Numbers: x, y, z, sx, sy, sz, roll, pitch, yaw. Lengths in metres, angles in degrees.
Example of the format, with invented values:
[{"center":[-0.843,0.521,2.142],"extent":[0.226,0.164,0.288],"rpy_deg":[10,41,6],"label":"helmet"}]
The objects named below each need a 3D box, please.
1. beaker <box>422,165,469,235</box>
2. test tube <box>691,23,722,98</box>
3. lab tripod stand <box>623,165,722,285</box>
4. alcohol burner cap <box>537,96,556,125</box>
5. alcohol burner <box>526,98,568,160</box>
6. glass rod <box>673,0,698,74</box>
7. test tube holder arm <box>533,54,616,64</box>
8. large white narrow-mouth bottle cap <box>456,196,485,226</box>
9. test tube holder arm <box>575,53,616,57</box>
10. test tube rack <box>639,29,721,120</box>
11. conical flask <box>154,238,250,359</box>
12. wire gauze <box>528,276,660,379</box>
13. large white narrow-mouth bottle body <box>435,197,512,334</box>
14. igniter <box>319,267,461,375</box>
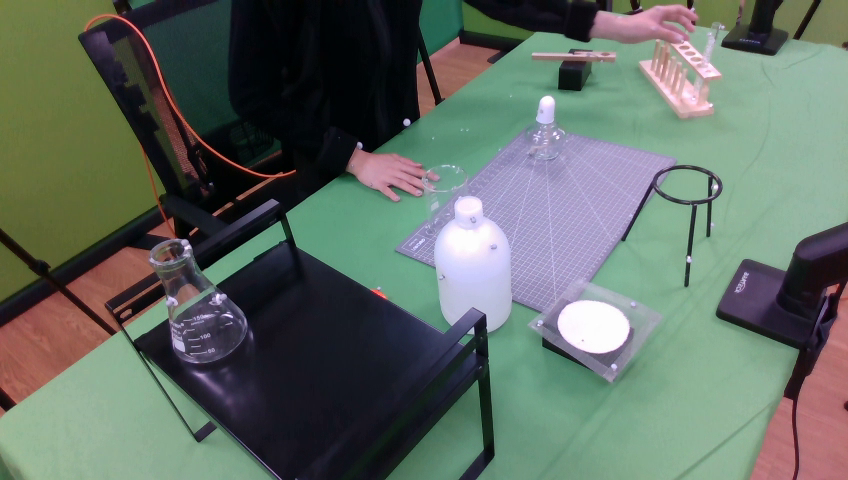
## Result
[{"center":[0.041,-0.063,0.986],"extent":[0.073,0.101,0.084],"rpy_deg":[20,47,29],"label":"beaker"},{"center":[0.547,-0.345,1.173],"extent":[0.017,0.151,0.017],"rpy_deg":[0,42,1],"label":"test tube"},{"center":[0.365,-0.030,0.874],"extent":[0.148,0.132,0.147],"rpy_deg":[-6,41,6],"label":"lab tripod stand"},{"center":[0.223,-0.237,1.095],"extent":[0.034,0.048,0.033],"rpy_deg":[0,43,1],"label":"alcohol burner cap"},{"center":[0.228,-0.210,1.118],"extent":[0.078,0.119,0.077],"rpy_deg":[-5,43,5],"label":"alcohol burner"},{"center":[0.537,-0.424,1.244],"extent":[0.008,0.200,0.008],"rpy_deg":[0,47,0],"label":"glass rod"},{"center":[0.329,-0.399,1.327],"extent":[0.178,0.015,0.013],"rpy_deg":[6,53,16],"label":"test tube holder arm"},{"center":[0.057,-0.037,0.749],"extent":[0.038,0.024,0.037],"rpy_deg":[-4,40,4],"label":"large white narrow-mouth bottle cap"},{"center":[0.374,-0.399,1.318],"extent":[0.087,0.015,0.010],"rpy_deg":[6,53,16],"label":"test tube holder arm"},{"center":[0.527,-0.351,1.262],"extent":[0.067,0.085,0.241],"rpy_deg":[-8,40,1],"label":"test tube rack"},{"center":[-0.225,0.055,0.597],"extent":[0.075,0.122,0.075],"rpy_deg":[-5,41,4],"label":"conical flask"},{"center":[0.214,0.103,0.763],"extent":[0.124,0.011,0.122],"rpy_deg":[30,53,35],"label":"wire gauze"},{"center":[0.066,0.028,0.805],"extent":[0.102,0.195,0.101],"rpy_deg":[-4,40,4],"label":"large white narrow-mouth bottle body"},{"center":[-0.060,0.108,0.862],"extent":[0.274,0.025,0.057],"rpy_deg":[29,62,35],"label":"igniter"}]
